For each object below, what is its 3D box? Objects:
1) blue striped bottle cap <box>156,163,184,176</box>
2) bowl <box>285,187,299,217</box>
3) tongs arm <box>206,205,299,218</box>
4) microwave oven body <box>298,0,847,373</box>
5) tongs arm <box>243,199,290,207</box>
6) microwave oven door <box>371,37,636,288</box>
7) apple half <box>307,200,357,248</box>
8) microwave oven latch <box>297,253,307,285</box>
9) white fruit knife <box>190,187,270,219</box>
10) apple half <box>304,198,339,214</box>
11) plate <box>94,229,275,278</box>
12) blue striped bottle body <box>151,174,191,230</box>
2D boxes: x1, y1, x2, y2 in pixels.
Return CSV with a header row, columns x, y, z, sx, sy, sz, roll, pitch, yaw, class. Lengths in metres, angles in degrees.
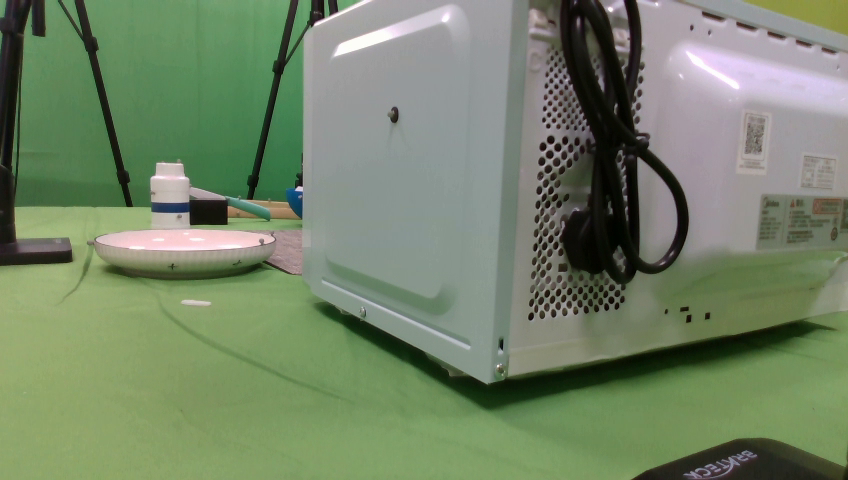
x,y,z,sx,sy,sz,roll,pitch,yaw,class
-0.438,-0.122,1.045,0.044,0.020,0.044,4,6,0,blue striped bottle cap
-0.218,-0.069,1.274,0.151,0.077,0.151,3,8,0,bowl
-0.302,-0.065,1.406,0.389,0.028,0.028,0,4,-15,tongs arm
0.151,-0.055,0.542,0.444,0.260,0.324,-2,7,-33,microwave oven body
-0.309,-0.079,1.487,0.385,0.026,0.050,3,7,-1,tongs arm
0.110,-0.080,0.686,0.358,0.243,0.039,-2,9,-33,microwave oven door
-0.136,-0.024,0.942,0.053,0.074,0.081,15,10,38,apple half
-0.081,0.027,0.582,0.079,0.029,0.030,-1,7,-33,microwave oven latch
-0.413,-0.081,1.270,0.208,0.027,0.016,17,13,-41,white fruit knife
-0.217,-0.073,1.274,0.081,0.033,0.081,2,9,0,apple half
-0.291,0.016,0.749,0.208,0.039,0.207,2,7,0,plate
-0.439,-0.071,1.052,0.063,0.120,0.063,2,7,0,blue striped bottle body
